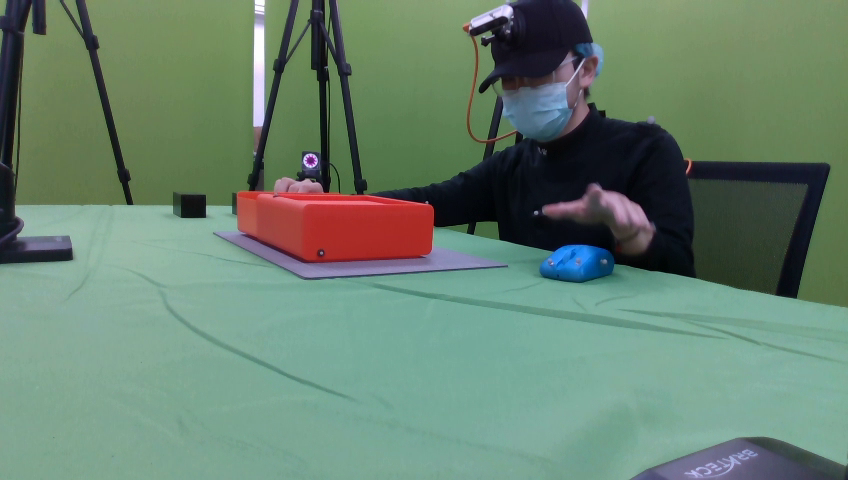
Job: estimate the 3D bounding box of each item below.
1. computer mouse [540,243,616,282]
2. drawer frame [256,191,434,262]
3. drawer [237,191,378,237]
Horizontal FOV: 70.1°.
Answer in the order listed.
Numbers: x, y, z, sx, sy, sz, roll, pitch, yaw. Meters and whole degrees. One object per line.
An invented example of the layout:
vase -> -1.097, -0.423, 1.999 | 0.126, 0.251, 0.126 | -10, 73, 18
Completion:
computer mouse -> 0.205, 0.028, 0.797 | 0.062, 0.041, 0.118 | 11, 14, 38
drawer frame -> -0.125, -0.026, 0.910 | 0.203, 0.082, 0.212 | -1, 9, -32
drawer -> -0.186, -0.040, 1.006 | 0.195, 0.073, 0.210 | -1, 8, -32
